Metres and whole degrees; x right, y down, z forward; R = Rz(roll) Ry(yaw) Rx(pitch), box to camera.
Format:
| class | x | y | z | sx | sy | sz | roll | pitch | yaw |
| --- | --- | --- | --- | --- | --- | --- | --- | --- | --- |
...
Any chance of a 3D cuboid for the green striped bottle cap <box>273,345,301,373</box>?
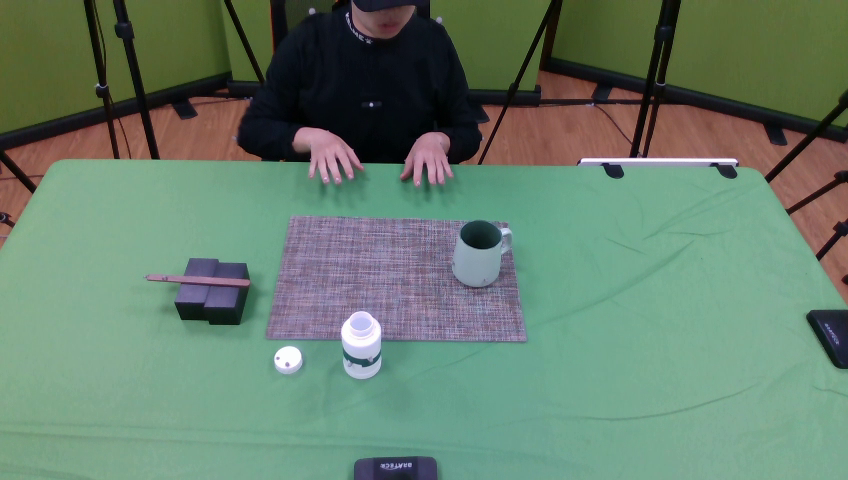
| class | x | y | z | sx | sy | sz | roll | pitch | yaw |
| --- | --- | --- | --- | --- | --- | --- | --- | --- | --- |
| green striped bottle cap | -0.225 | 0.195 | 0.997 | 0.044 | 0.020 | 0.044 | 2 | 50 | -3 |

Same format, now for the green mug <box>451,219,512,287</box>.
| class | x | y | z | sx | sy | sz | roll | pitch | yaw |
| --- | --- | --- | --- | --- | --- | --- | --- | --- | --- |
| green mug | 0.112 | 0.019 | 1.125 | 0.125 | 0.105 | 0.092 | -24 | 52 | -25 |

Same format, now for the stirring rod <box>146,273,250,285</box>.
| class | x | y | z | sx | sy | sz | roll | pitch | yaw |
| --- | --- | --- | --- | --- | --- | --- | --- | --- | --- |
| stirring rod | -0.389 | 0.068 | 1.044 | 0.176 | 0.006 | 0.014 | 3 | 46 | -2 |

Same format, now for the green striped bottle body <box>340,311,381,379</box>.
| class | x | y | z | sx | sy | sz | roll | pitch | yaw |
| --- | --- | --- | --- | --- | --- | --- | --- | --- | --- |
| green striped bottle body | -0.101 | 0.165 | 0.964 | 0.063 | 0.120 | 0.063 | 2 | 46 | -2 |
